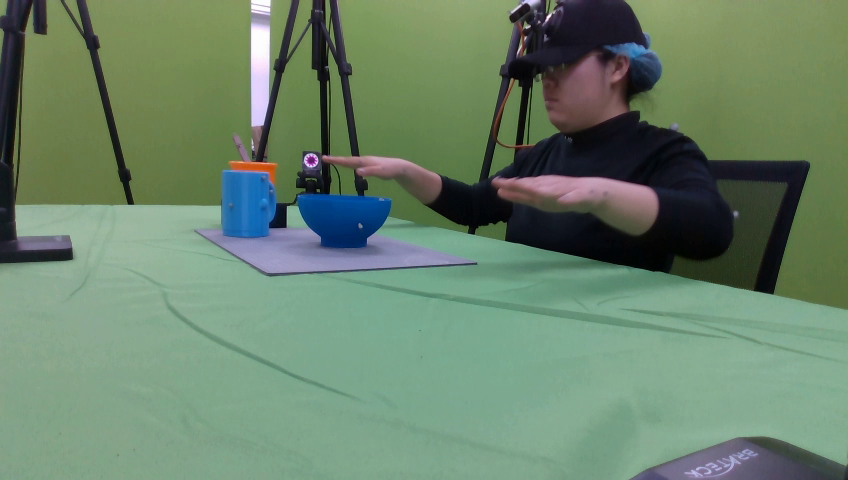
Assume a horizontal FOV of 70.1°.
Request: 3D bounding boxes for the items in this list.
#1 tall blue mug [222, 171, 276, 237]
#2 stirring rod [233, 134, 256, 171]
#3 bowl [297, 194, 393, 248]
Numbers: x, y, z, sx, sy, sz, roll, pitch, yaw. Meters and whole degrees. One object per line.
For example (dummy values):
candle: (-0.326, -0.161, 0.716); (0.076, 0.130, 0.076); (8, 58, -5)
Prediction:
tall blue mug: (-0.303, -0.065, 1.043); (0.078, 0.108, 0.107); (1, 7, -4)
stirring rod: (-0.346, -0.148, 1.198); (0.014, 0.006, 0.175); (-6, 53, -39)
bowl: (-0.127, -0.031, 0.964); (0.151, 0.077, 0.151); (2, 7, 0)
